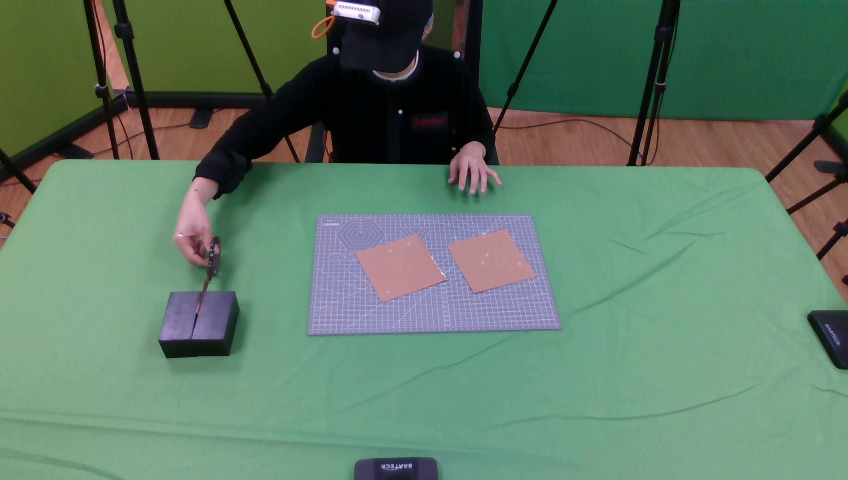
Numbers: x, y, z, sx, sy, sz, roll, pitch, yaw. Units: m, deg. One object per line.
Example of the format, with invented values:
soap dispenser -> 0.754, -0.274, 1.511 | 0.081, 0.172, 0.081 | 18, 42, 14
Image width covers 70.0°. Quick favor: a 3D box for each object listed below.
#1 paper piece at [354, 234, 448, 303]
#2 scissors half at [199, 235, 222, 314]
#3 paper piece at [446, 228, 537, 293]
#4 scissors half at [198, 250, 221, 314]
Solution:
paper piece -> -0.045, 0.049, 1.154 | 0.138, 0.009, 0.135 | -17, 46, -18
scissors half -> -0.374, 0.058, 1.057 | 0.013, 0.040, 0.174 | 10, 48, -13
paper piece -> 0.130, 0.037, 1.177 | 0.136, 0.004, 0.134 | -14, 49, -16
scissors half -> -0.379, 0.073, 1.070 | 0.013, 0.040, 0.174 | 6, 32, -9
